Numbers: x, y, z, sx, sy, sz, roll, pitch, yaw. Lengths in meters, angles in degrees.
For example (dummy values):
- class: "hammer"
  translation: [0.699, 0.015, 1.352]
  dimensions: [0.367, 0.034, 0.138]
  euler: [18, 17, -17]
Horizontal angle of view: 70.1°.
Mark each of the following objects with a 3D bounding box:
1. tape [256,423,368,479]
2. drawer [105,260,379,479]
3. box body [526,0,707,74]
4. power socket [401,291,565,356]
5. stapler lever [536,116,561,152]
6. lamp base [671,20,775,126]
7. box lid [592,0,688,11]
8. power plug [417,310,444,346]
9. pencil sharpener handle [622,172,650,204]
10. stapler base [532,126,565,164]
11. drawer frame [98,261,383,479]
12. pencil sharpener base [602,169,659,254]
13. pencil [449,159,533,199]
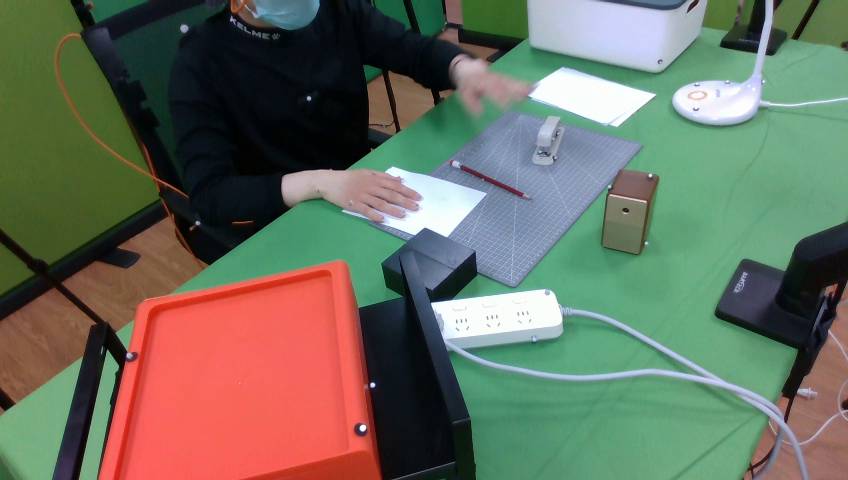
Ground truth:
- class: "tape"
  translation: [-0.121, 0.262, 0.660]
  dimensions: [0.117, 0.053, 0.116]
  euler: [-4, 40, 4]
- class: "drawer"
  translation: [-0.150, 0.127, 0.524]
  dimensions: [0.195, 0.073, 0.210]
  euler: [-11, 41, -5]
- class: "box body"
  translation: [0.450, -0.540, 1.430]
  dimensions: [0.361, 0.161, 0.255]
  euler: [24, 50, 31]
- class: "power socket"
  translation: [0.080, 0.112, 0.822]
  dimensions: [0.227, 0.033, 0.072]
  euler: [-6, 41, 0]
- class: "stapler lever"
  translation: [0.236, -0.209, 1.140]
  dimensions: [0.026, 0.040, 0.118]
  euler: [10, 43, 18]
- class: "lamp base"
  translation: [0.582, -0.332, 1.153]
  dimensions: [0.179, 0.181, 0.160]
  euler: [2, 41, 7]
- class: "box lid"
  translation: [0.441, -0.596, 1.383]
  dimensions: [0.368, 0.015, 0.264]
  euler: [24, 49, 31]
- class: "power plug"
  translation: [0.006, 0.122, 0.785]
  dimensions: [0.035, 0.053, 0.072]
  euler: [-1, 40, 8]
- class: "pencil sharpener handle"
  translation: [0.328, -0.086, 0.940]
  dimensions: [0.036, 0.068, 0.030]
  euler: [30, 49, 8]
- class: "stapler base"
  translation: [0.238, -0.189, 1.155]
  dimensions: [0.041, 0.024, 0.130]
  euler: [10, 42, 18]
- class: "drawer frame"
  translation: [-0.148, 0.129, 0.519]
  dimensions: [0.202, 0.083, 0.212]
  euler: [-12, 41, -6]
- class: "pencil sharpener base"
  translation: [0.312, -0.044, 0.913]
  dimensions: [0.061, 0.107, 0.077]
  euler: [14, 45, 24]
- class: "pencil"
  translation: [0.118, -0.110, 1.091]
  dimensions: [0.192, 0.012, 0.012]
  euler: [30, 53, 34]
